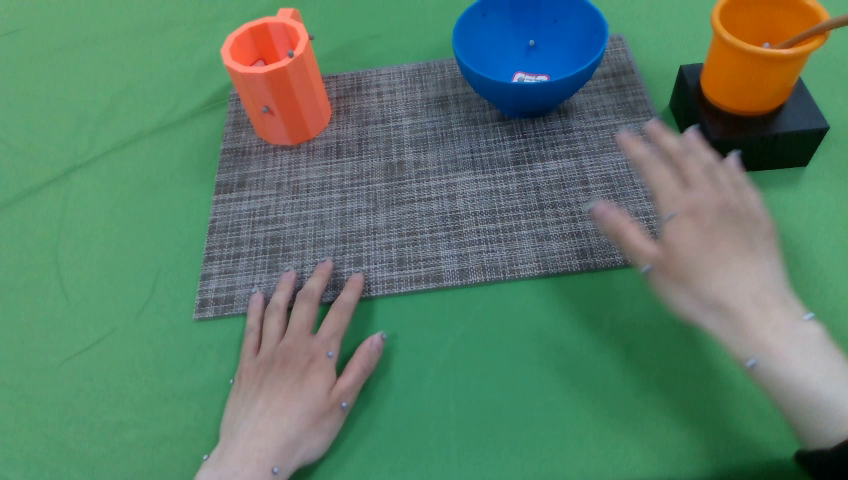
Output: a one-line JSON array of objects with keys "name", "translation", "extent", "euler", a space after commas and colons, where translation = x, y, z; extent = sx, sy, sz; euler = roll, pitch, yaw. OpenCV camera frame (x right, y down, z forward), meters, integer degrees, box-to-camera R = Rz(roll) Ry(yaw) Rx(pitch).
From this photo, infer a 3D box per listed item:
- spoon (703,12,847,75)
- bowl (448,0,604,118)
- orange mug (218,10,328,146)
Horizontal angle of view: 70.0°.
[{"name": "spoon", "translation": [0.310, -0.164, 0.482], "extent": [0.041, 0.193, 0.022], "euler": [-38, 103, -22]}, {"name": "bowl", "translation": [0.102, -0.178, 0.617], "extent": [0.151, 0.077, 0.150], "euler": [-3, 55, 4]}, {"name": "orange mug", "translation": [-0.150, -0.176, 0.633], "extent": [0.083, 0.102, 0.125], "euler": [3, 60, 9]}]
